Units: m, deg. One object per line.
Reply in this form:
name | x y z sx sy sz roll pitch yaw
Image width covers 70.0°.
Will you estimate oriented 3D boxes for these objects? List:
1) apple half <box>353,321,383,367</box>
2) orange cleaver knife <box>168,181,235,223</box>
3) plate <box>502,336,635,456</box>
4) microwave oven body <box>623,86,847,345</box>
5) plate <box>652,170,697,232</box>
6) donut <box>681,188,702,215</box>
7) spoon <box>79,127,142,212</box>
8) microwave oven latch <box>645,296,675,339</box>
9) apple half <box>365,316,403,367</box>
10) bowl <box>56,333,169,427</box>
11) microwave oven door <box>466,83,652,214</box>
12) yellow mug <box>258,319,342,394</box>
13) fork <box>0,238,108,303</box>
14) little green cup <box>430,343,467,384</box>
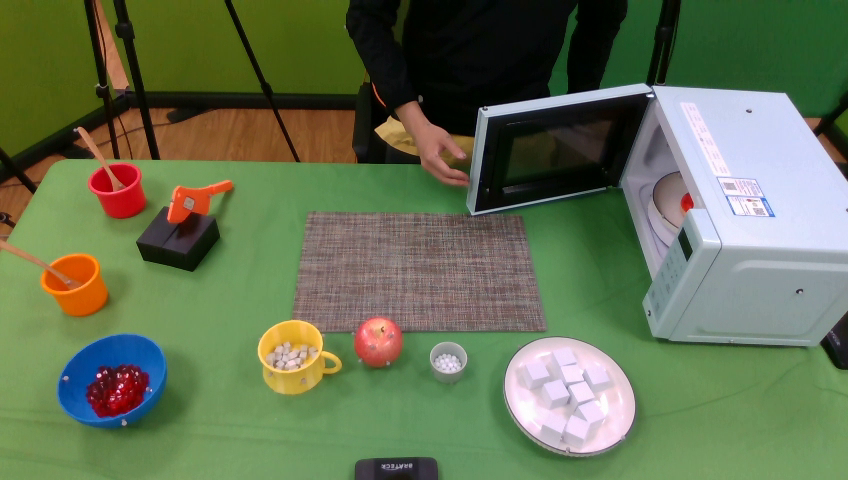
apple half | -0.098 0.177 0.984 0.033 0.081 0.081 -17 49 -25
orange cleaver knife | -0.436 -0.078 1.196 0.012 0.077 0.211 16 15 10
plate | 0.225 0.248 0.963 0.208 0.039 0.206 2 46 -2
microwave oven body | 0.567 -0.053 1.118 0.326 0.261 0.439 2 45 -1
plate | 0.555 -0.059 1.196 0.209 0.038 0.208 2 45 -1
donut | 0.554 -0.065 1.185 0.099 0.048 0.098 1 45 -1
spoon | -0.624 -0.140 1.203 0.041 0.021 0.194 -33 100 -26
microwave oven latch | 0.412 0.134 1.061 0.030 0.029 0.078 3 45 0
apple half | -0.063 0.165 1.000 0.053 0.075 0.080 -16 45 -24
bowl | -0.456 0.223 0.912 0.151 0.077 0.150 3 46 -2
microwave oven door | 0.266 -0.182 1.215 0.356 0.245 0.039 -12 48 -15
yellow mug | -0.195 0.189 0.972 0.131 0.064 0.099 9 46 4
fork | -0.633 0.048 1.017 0.208 0.018 0.028 40 41 -27
little green cup | 0.039 0.203 0.994 0.061 0.039 0.061 2 46 -2
